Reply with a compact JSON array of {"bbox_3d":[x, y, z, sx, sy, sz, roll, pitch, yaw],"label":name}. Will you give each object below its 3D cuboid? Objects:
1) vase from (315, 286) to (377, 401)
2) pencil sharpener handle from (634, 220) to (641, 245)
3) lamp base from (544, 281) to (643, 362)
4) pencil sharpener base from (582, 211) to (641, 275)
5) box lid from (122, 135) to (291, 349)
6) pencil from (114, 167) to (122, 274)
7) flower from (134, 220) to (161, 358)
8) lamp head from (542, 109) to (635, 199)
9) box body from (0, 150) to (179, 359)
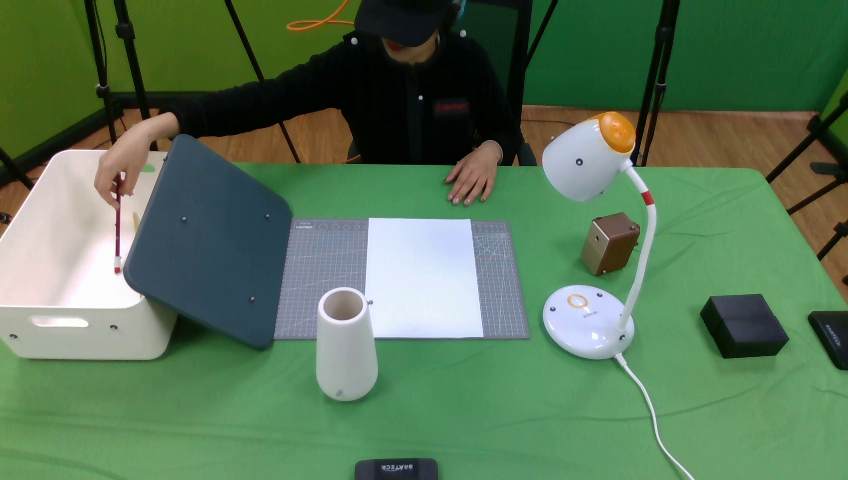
[{"bbox_3d":[-0.119,0.159,0.911,0.098,0.201,0.097,2,47,-2],"label":"vase"},{"bbox_3d":[0.405,-0.015,1.161,0.031,0.068,0.035,-15,44,-17],"label":"pencil sharpener handle"},{"bbox_3d":[0.304,0.095,1.014,0.161,0.181,0.178,-24,54,-24],"label":"lamp base"},{"bbox_3d":[0.357,0.005,1.156,0.077,0.107,0.061,-15,48,-18],"label":"pencil sharpener base"},{"bbox_3d":[-0.355,-0.008,1.060,0.015,0.265,0.369,-33,39,27],"label":"box lid"},{"bbox_3d":[-0.554,-0.035,1.100,0.012,0.012,0.194,2,91,0],"label":"pencil"},{"bbox_3d":[-0.508,0.071,1.092,0.044,0.038,0.359,-41,45,8],"label":"flower"},{"bbox_3d":[0.253,-0.131,0.893,0.113,0.123,0.112,10,66,-24],"label":"lamp head"},{"bbox_3d":[-0.541,0.021,1.042,0.254,0.161,0.361,1,46,-3],"label":"box body"}]
